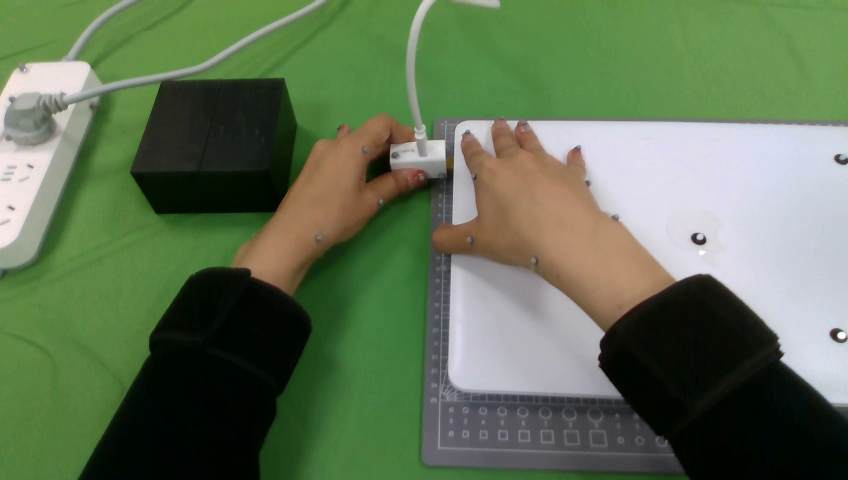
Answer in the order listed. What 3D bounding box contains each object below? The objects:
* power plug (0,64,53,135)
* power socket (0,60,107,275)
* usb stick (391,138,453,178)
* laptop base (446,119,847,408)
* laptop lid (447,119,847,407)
[{"bbox_3d":[-0.316,-0.114,0.466,0.053,0.073,0.035,10,37,-21],"label":"power plug"},{"bbox_3d":[-0.326,-0.070,0.497,0.072,0.033,0.224,0,55,-1],"label":"power socket"},{"bbox_3d":[0.004,-0.065,0.482,0.059,0.027,0.021,-2,60,0],"label":"usb stick"},{"bbox_3d":[0.195,0.007,0.443,0.354,0.023,0.233,2,59,2],"label":"laptop base"},{"bbox_3d":[0.195,0.002,0.432,0.356,0.013,0.239,3,58,4],"label":"laptop lid"}]
